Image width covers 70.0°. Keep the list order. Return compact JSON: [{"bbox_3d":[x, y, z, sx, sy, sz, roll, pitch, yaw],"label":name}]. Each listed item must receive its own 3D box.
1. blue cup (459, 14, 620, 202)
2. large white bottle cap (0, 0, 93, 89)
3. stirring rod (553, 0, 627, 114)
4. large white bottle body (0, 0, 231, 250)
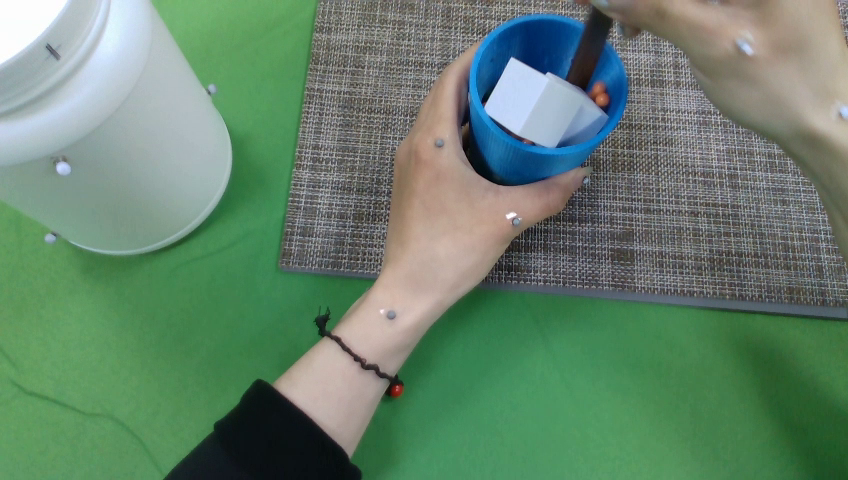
[{"bbox_3d":[0.062,-0.068,0.368,0.092,0.101,0.092,0,73,1],"label":"blue cup"},{"bbox_3d":[-0.194,-0.108,0.245,0.115,0.018,0.114,0,72,-1],"label":"large white bottle cap"},{"bbox_3d":[0.087,-0.105,0.293,0.014,0.177,0.006,-18,75,-5],"label":"stirring rod"},{"bbox_3d":[-0.194,-0.081,0.325,0.130,0.185,0.130,0,72,-1],"label":"large white bottle body"}]
